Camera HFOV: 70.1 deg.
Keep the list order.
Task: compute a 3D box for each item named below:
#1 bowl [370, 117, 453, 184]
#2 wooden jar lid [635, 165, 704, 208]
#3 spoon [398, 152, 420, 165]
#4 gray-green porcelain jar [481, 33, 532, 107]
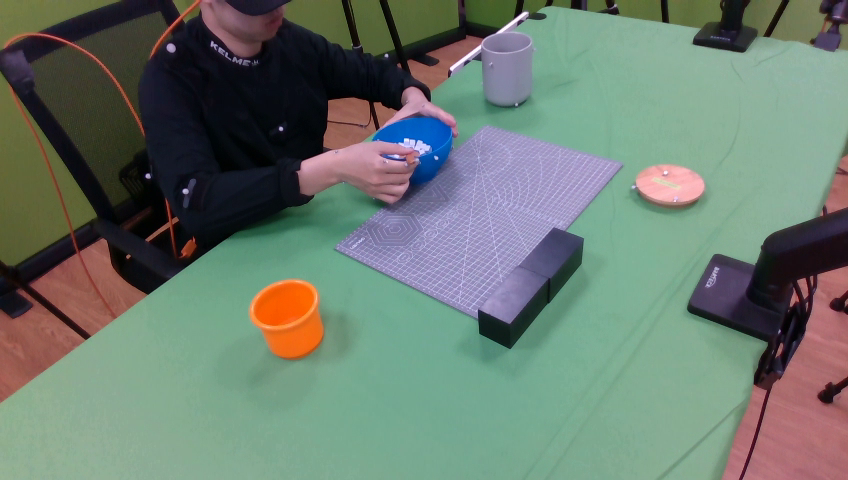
[{"bbox_3d":[-0.018,-0.155,1.106,0.151,0.077,0.150,-6,39,6],"label":"bowl"},{"bbox_3d":[0.410,-0.089,1.014,0.108,0.021,0.108,-5,42,5],"label":"wooden jar lid"},{"bbox_3d":[-0.026,-0.140,1.035,0.041,0.021,0.193,-6,8,-1],"label":"spoon"},{"bbox_3d":[0.175,-0.355,1.278,0.106,0.127,0.105,-4,41,4],"label":"gray-green porcelain jar"}]
